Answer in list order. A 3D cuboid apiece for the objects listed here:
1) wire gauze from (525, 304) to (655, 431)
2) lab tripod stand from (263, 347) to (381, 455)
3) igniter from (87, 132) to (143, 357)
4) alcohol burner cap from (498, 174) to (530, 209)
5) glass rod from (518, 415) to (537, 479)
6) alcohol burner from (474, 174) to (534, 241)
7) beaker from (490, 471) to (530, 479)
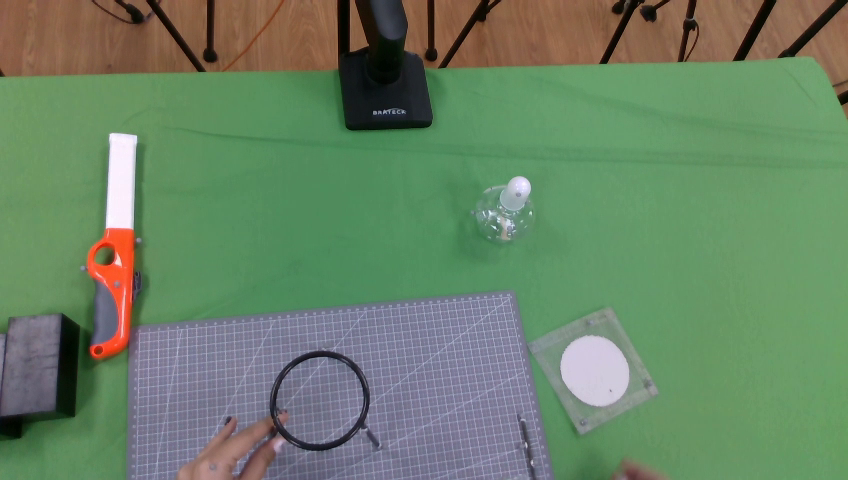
[{"bbox_3d":[0.206,0.153,0.742,0.125,0.011,0.120,-22,73,-15],"label":"wire gauze"},{"bbox_3d":[-0.106,0.165,0.613,0.148,0.132,0.147,3,66,-6],"label":"lab tripod stand"},{"bbox_3d":[-0.355,-0.002,0.700,0.057,0.025,0.274,3,66,-25],"label":"igniter"},{"bbox_3d":[0.109,-0.060,0.716,0.034,0.048,0.033,2,72,-6],"label":"alcohol burner cap"},{"bbox_3d":[0.127,0.294,0.666,0.008,0.008,0.198,-5,68,-12],"label":"glass rod"},{"bbox_3d":[0.103,-0.046,0.749,0.078,0.120,0.077,4,65,-8],"label":"alcohol burner"},{"bbox_3d":[0.074,0.278,0.615,0.074,0.101,0.083,25,65,2],"label":"beaker"}]
